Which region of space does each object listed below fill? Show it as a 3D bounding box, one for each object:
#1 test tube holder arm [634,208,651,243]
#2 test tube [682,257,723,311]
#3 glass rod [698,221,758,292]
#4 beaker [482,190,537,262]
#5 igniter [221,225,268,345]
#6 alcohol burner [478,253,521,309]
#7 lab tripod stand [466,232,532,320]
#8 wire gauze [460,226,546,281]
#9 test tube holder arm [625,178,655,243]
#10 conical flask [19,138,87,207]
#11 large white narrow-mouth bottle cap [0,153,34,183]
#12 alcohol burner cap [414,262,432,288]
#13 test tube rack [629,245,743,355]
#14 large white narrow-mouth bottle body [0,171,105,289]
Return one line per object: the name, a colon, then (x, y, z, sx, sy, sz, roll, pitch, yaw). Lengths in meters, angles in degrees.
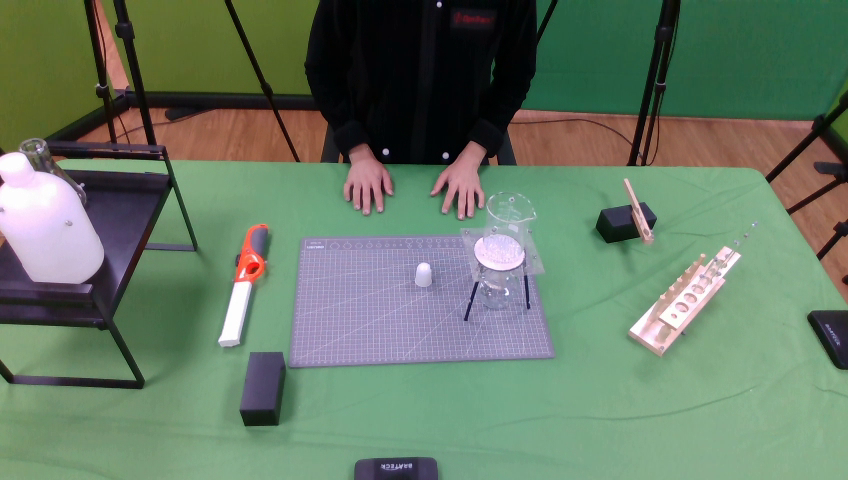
test tube holder arm: (0.428, -0.030, 1.189, 0.010, 0.015, 0.087, 1, 47, -2)
test tube: (0.475, 0.080, 1.037, 0.017, 0.151, 0.017, 1, 50, -1)
glass rod: (0.527, 0.035, 1.059, 0.008, 0.200, 0.008, 5, 49, -6)
beaker: (0.136, -0.019, 0.983, 0.084, 0.101, 0.073, 17, 47, 14)
igniter: (-0.323, 0.072, 1.100, 0.057, 0.025, 0.274, -6, 45, 5)
alcohol burner: (0.134, 0.067, 1.073, 0.078, 0.120, 0.077, 0, 47, 0)
lab tripod stand: (0.125, 0.059, 1.065, 0.148, 0.132, 0.147, 1, 45, 0)
wire gauze: (0.130, 0.017, 1.016, 0.121, 0.011, 0.124, -4, 43, -9)
test tube holder arm: (0.433, -0.062, 1.220, 0.013, 0.015, 0.177, 0, 47, -3)
conical flask: (-0.576, -0.097, 0.930, 0.075, 0.122, 0.075, 2, 46, -2)
large white narrow-mouth bottle cap: (-0.510, -0.090, 0.754, 0.038, 0.024, 0.037, 2, 46, -2)
alcohol burner cap: (0.000, 0.061, 1.119, 0.034, 0.048, 0.033, 3, 42, -3)
test tube rack: (0.474, 0.095, 1.091, 0.242, 0.085, 0.066, -34, 56, -31)
large white narrow-mouth bottle body: (-0.513, -0.029, 0.818, 0.102, 0.195, 0.101, 2, 46, -2)
